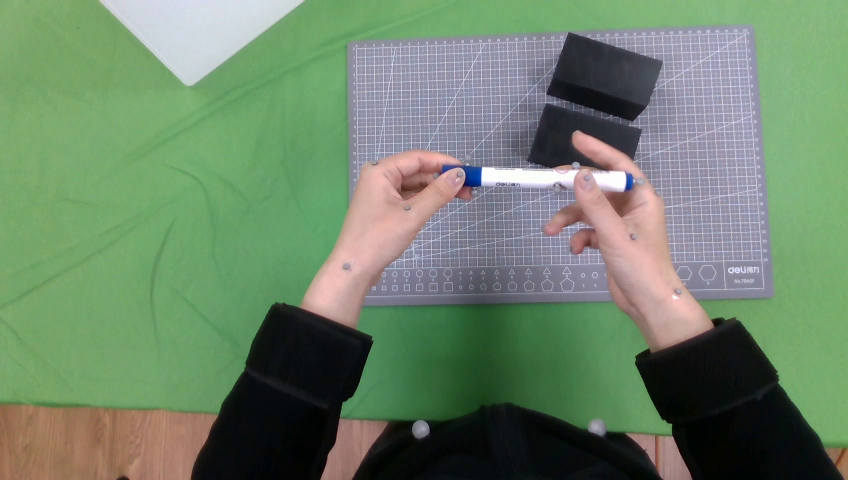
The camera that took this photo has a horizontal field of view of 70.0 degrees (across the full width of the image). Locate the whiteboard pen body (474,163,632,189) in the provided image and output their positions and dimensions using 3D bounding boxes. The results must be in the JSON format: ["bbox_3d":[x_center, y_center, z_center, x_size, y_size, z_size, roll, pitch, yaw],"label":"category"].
[{"bbox_3d":[0.087,-0.050,0.465,0.141,0.017,0.017,3,84,4],"label":"whiteboard pen body"}]

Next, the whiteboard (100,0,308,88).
[{"bbox_3d":[-0.260,-0.344,0.586,0.217,0.308,0.142,-37,64,-1],"label":"whiteboard"}]

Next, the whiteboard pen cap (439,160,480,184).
[{"bbox_3d":[0.029,-0.053,0.471,0.033,0.018,0.018,3,84,4],"label":"whiteboard pen cap"}]
